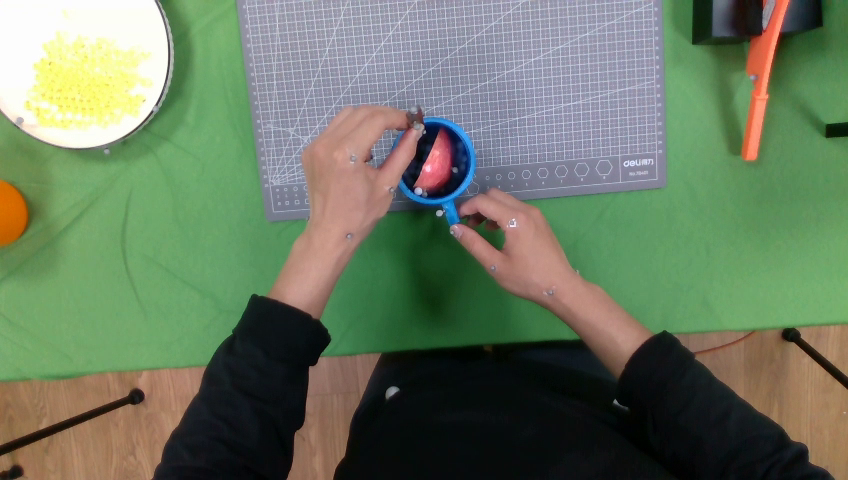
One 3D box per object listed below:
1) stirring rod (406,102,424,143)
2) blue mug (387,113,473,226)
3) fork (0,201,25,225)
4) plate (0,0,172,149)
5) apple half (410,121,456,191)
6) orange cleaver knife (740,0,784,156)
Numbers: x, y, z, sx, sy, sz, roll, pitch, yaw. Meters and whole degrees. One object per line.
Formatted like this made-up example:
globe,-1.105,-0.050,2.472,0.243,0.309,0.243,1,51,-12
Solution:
stirring rod,-0.007,-0.106,0.562,0.014,0.176,0.006,-38,91,1
blue mug,0.013,-0.070,0.624,0.082,0.105,0.117,-20,98,4
fork,-0.530,-0.035,0.615,0.209,0.018,0.028,5,100,-44
plate,-0.368,-0.202,0.643,0.209,0.038,0.209,0,99,1
apple half,0.017,-0.081,0.614,0.033,0.081,0.081,24,98,7
orange cleaver knife,0.340,-0.191,0.616,0.012,0.076,0.213,-2,125,10
